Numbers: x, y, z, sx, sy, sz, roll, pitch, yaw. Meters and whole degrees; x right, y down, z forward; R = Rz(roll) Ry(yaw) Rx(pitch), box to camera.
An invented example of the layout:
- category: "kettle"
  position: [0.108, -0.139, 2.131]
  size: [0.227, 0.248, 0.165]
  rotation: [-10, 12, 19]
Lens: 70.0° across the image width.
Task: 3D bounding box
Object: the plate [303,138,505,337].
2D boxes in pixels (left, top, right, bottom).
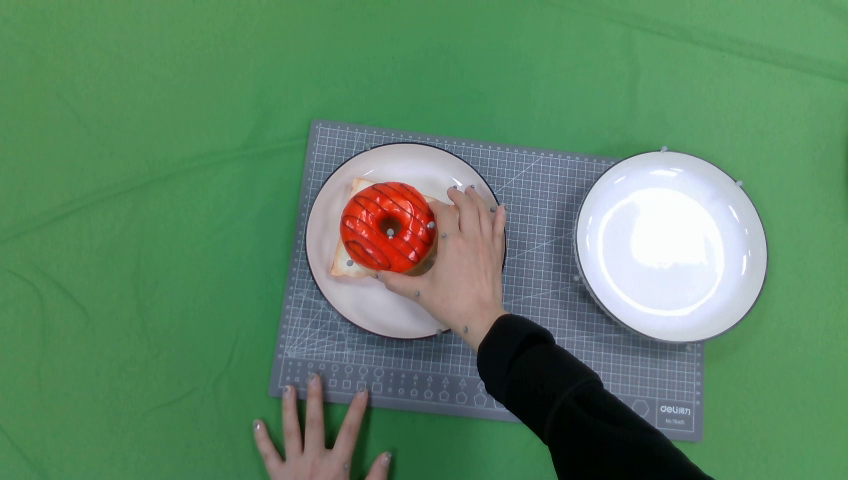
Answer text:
- category: "plate"
  position: [-0.020, -0.002, 0.633]
  size: [0.209, 0.038, 0.208]
  rotation: [1, 79, -4]

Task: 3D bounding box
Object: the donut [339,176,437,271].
- category: "donut"
  position: [-0.036, -0.017, 0.606]
  size: [0.099, 0.048, 0.098]
  rotation: [0, 77, -1]

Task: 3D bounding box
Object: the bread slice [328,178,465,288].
- category: "bread slice"
  position: [-0.025, -0.004, 0.636]
  size: [0.134, 0.018, 0.106]
  rotation: [8, 79, -1]

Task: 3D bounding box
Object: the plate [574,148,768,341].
- category: "plate"
  position: [0.260, 0.005, 0.653]
  size: [0.208, 0.039, 0.206]
  rotation: [1, 79, -4]
